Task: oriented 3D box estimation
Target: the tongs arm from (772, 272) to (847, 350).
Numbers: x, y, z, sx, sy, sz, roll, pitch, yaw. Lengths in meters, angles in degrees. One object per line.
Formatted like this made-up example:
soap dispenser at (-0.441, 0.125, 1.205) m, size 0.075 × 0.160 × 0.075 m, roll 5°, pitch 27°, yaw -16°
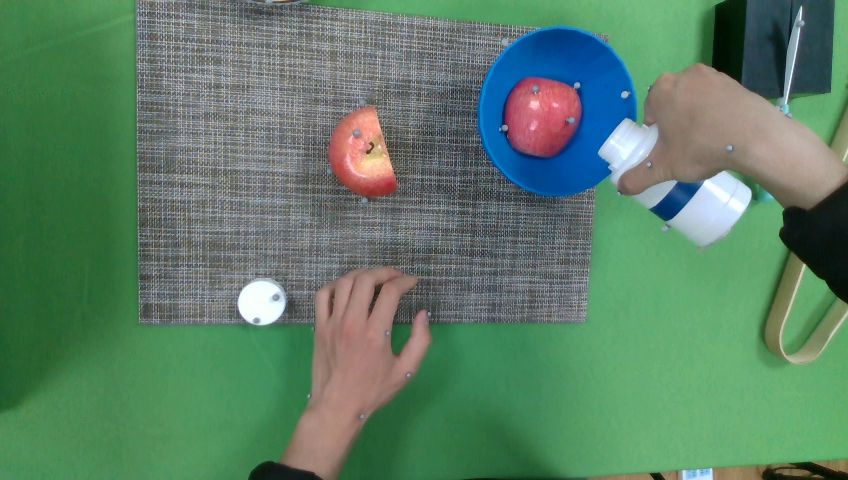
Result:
tongs arm at (0.529, -0.032, 0.696) m, size 0.051 × 0.026 × 0.385 m, roll 31°, pitch 93°, yaw -12°

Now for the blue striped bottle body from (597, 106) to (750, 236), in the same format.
blue striped bottle body at (0.206, -0.063, 0.515) m, size 0.120 × 0.063 × 0.063 m, roll 38°, pitch 90°, yaw 3°

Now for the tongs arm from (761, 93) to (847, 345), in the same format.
tongs arm at (0.457, -0.068, 0.682) m, size 0.028 × 0.027 × 0.387 m, roll 17°, pitch 95°, yaw -15°

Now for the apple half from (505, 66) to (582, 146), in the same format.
apple half at (0.117, -0.127, 0.573) m, size 0.081 × 0.032 × 0.081 m, roll -1°, pitch 97°, yaw -10°

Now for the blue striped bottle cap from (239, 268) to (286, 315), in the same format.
blue striped bottle cap at (-0.156, 0.050, 0.583) m, size 0.045 × 0.020 × 0.044 m, roll -2°, pitch 98°, yaw -13°

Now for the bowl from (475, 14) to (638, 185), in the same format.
bowl at (0.115, -0.128, 0.577) m, size 0.152 × 0.076 × 0.151 m, roll -1°, pitch 98°, yaw -10°

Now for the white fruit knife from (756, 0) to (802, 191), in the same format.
white fruit knife at (0.367, -0.145, 0.623) m, size 0.016 × 0.027 × 0.209 m, roll -1°, pitch 115°, yaw 7°

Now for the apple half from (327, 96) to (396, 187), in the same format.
apple half at (-0.061, -0.085, 0.553) m, size 0.053 × 0.074 × 0.081 m, roll -18°, pitch 104°, yaw -4°
